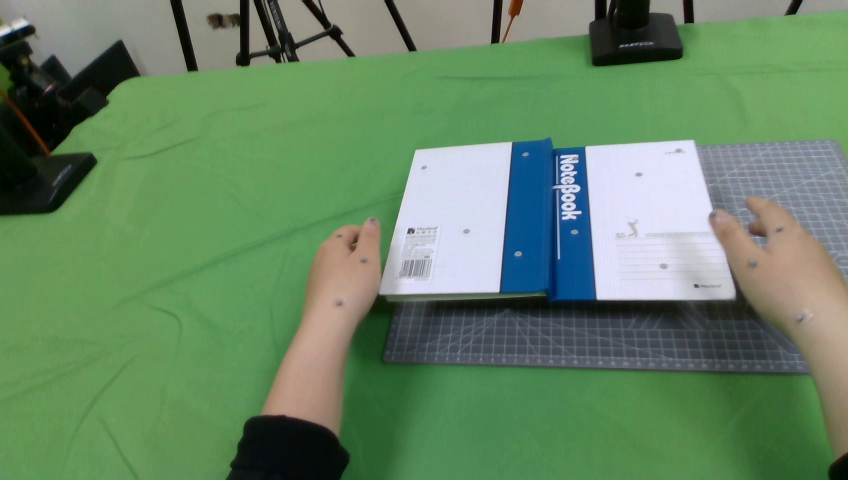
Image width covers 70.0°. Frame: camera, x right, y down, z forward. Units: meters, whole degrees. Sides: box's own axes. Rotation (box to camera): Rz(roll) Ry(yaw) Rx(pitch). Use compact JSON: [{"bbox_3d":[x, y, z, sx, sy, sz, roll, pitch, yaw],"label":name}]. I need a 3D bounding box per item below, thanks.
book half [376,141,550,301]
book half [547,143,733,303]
[{"bbox_3d":[0.045,-0.024,0.580,0.148,0.016,0.208,-2,45,14],"label":"book half"},{"bbox_3d":[0.185,-0.023,0.553,0.143,0.007,0.208,-1,44,13],"label":"book half"}]
